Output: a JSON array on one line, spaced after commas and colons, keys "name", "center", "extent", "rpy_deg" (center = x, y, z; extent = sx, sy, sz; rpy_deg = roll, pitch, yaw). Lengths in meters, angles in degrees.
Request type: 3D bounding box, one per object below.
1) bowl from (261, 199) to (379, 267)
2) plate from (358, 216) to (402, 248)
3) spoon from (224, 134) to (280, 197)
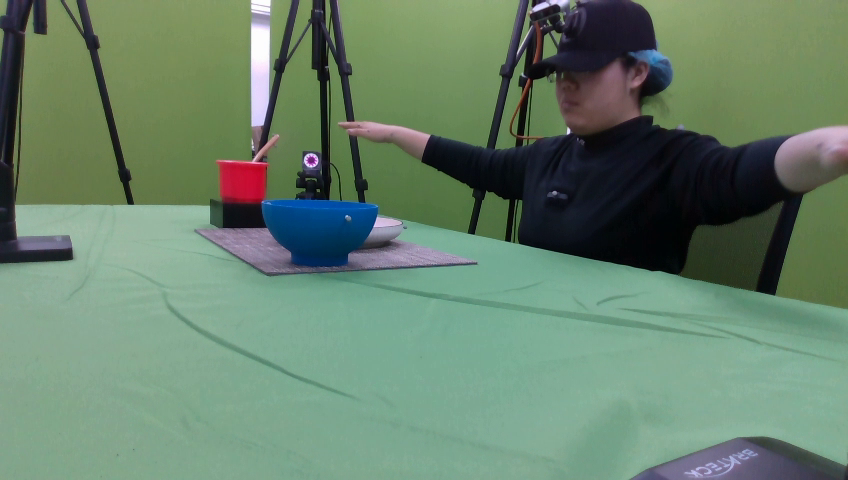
[{"name": "bowl", "center": [-0.135, -0.009, 0.786], "extent": [0.151, 0.077, 0.151], "rpy_deg": [3, 7, 0]}, {"name": "plate", "center": [-0.140, -0.015, 0.993], "extent": [0.208, 0.039, 0.207], "rpy_deg": [3, 7, 0]}, {"name": "spoon", "center": [-0.333, -0.150, 1.192], "extent": [0.041, 0.022, 0.194], "rpy_deg": [6, 52, 24]}]
